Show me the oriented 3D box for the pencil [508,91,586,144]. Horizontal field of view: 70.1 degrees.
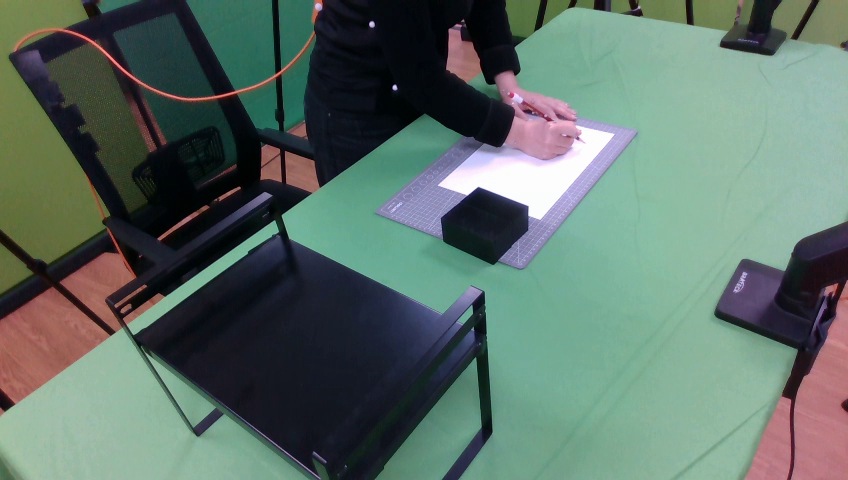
[{"bbox_3d":[0.228,-0.221,1.106,0.195,0.012,0.012,25,32,-26],"label":"pencil"}]
